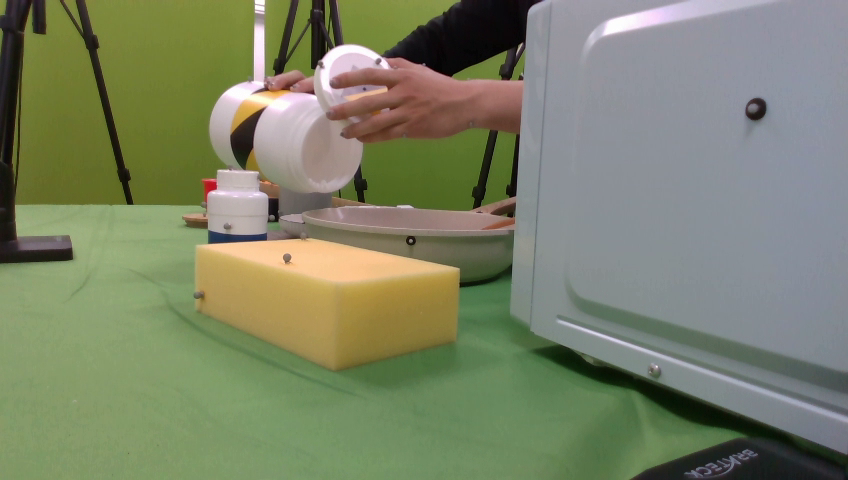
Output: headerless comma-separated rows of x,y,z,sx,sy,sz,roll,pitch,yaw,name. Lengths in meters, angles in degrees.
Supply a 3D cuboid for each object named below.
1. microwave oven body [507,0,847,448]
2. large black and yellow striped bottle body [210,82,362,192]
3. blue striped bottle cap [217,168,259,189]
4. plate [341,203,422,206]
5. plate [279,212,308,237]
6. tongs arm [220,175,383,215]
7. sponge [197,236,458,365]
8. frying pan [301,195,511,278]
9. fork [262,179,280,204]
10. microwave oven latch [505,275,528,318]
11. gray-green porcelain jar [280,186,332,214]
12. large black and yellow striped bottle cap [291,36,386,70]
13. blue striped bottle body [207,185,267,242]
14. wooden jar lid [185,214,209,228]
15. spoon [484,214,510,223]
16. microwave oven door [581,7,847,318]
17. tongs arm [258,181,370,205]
0.331,-0.042,0.425,0.444,0.260,0.324,-2,8,-31,microwave oven body
-0.187,-0.140,0.826,0.183,0.130,0.131,20,17,35,large black and yellow striped bottle body
-0.202,-0.067,0.657,0.044,0.020,0.044,0,11,0,blue striped bottle cap
-0.089,-0.053,1.309,0.208,0.039,0.207,2,8,0,plate
-0.139,-0.022,1.021,0.209,0.038,0.209,2,8,0,plate
-0.285,-0.105,1.445,0.389,0.027,0.028,10,-3,-23,tongs arm
-0.087,0.039,0.500,0.206,0.061,0.119,8,9,44,sponge
0.051,-0.028,0.864,0.305,0.102,0.490,8,18,35,frying pan
-0.396,-0.143,1.486,0.028,0.018,0.208,19,-26,44,fork
0.100,0.041,0.472,0.079,0.029,0.030,-2,8,-31,microwave oven latch
-0.238,-0.092,1.221,0.106,0.126,0.106,2,7,0,gray-green porcelain jar
-0.103,-0.226,0.735,0.115,0.019,0.115,-9,10,2,large black and yellow striped bottle cap
-0.204,-0.016,0.663,0.063,0.120,0.063,2,7,0,blue striped bottle body
-0.404,-0.037,1.169,0.108,0.020,0.108,3,7,0,wooden jar lid
0.076,-0.013,0.794,0.193,0.021,0.042,-24,-1,11,spoon
0.295,-0.067,0.570,0.358,0.243,0.039,-3,8,-31,microwave oven door
-0.241,-0.095,1.373,0.387,0.026,0.050,9,0,-37,tongs arm
